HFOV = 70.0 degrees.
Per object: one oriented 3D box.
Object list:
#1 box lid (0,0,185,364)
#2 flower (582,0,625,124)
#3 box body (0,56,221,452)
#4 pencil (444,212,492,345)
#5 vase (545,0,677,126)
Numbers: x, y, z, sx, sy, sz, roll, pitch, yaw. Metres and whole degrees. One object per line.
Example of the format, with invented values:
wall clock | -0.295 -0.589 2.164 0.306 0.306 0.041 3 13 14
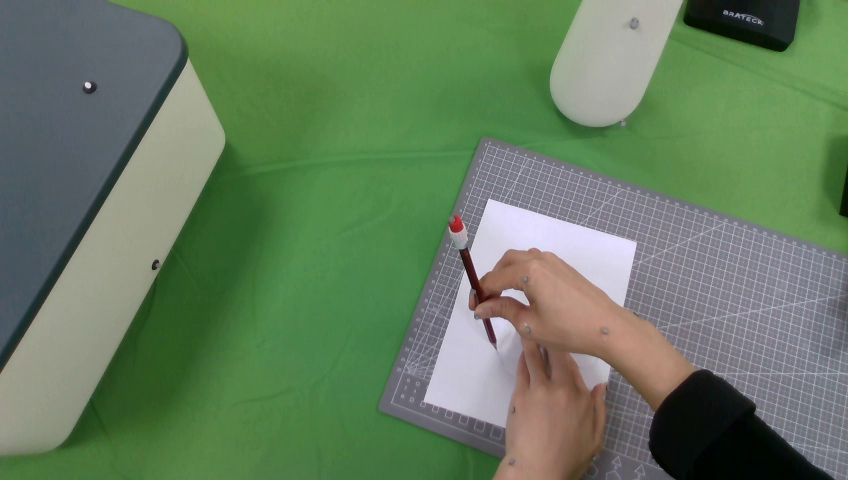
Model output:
box lid | -0.370 -0.054 0.449 0.263 0.015 0.369 20 71 5
flower | 0.174 -0.235 0.494 0.044 0.365 0.038 13 53 7
box body | -0.371 -0.027 0.520 0.254 0.161 0.362 19 72 6
pencil | 0.040 0.041 0.490 0.012 0.196 0.012 -8 52 11
vase | 0.176 -0.193 0.568 0.098 0.201 0.097 0 69 0
